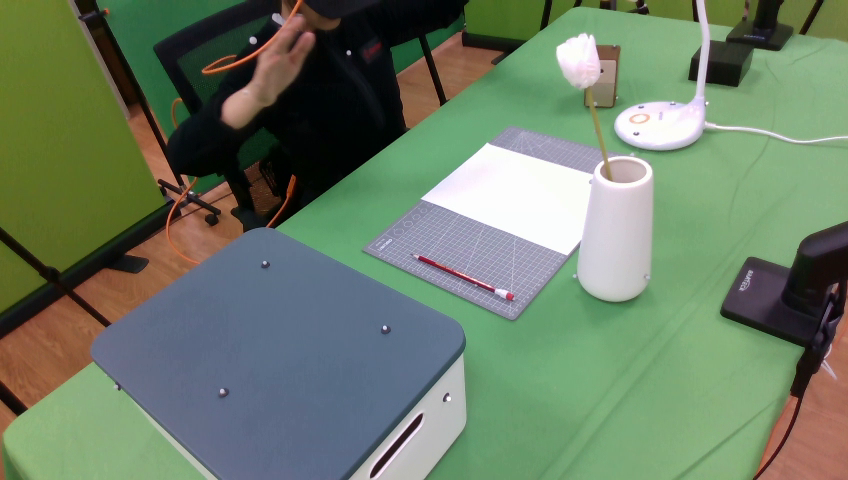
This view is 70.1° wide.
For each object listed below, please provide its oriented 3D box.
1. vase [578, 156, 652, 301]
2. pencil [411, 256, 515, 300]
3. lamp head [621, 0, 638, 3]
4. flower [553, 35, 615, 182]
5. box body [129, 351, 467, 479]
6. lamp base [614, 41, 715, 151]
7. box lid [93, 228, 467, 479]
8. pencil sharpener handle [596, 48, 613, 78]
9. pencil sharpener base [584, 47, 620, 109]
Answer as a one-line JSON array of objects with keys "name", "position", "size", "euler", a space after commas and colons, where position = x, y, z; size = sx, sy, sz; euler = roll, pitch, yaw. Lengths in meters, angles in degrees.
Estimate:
[{"name": "vase", "position": [0.261, -0.011, 0.812], "size": [0.098, 0.201, 0.097], "euler": [-4, 40, 4]}, {"name": "pencil", "position": [0.054, 0.054, 0.918], "size": [0.192, 0.012, 0.012], "euler": [21, 48, 33]}, {"name": "lamp head", "position": [0.319, -0.453, 0.962], "size": [0.113, 0.123, 0.112], "euler": [20, 33, -13]}, {"name": "flower", "position": [0.237, -0.083, 0.774], "size": [0.044, 0.363, 0.038], "euler": [-22, 26, 7]}, {"name": "box body", "position": [-0.155, 0.169, 0.707], "size": [0.361, 0.161, 0.255], "euler": [23, 49, 33]}, {"name": "lamp base", "position": [0.449, -0.277, 1.106], "size": [0.179, 0.181, 0.160], "euler": [1, 41, 9]}, {"name": "box lid", "position": [-0.167, 0.110, 0.661], "size": [0.368, 0.015, 0.264], "euler": [23, 49, 34]}, {"name": "pencil sharpener handle", "position": [0.383, -0.378, 1.276], "size": [0.036, 0.068, 0.030], "euler": [3, 41, 22]}, {"name": "pencil sharpener base", "position": [0.367, -0.336, 1.248], "size": [0.061, 0.107, 0.076], "euler": [6, 42, 19]}]
